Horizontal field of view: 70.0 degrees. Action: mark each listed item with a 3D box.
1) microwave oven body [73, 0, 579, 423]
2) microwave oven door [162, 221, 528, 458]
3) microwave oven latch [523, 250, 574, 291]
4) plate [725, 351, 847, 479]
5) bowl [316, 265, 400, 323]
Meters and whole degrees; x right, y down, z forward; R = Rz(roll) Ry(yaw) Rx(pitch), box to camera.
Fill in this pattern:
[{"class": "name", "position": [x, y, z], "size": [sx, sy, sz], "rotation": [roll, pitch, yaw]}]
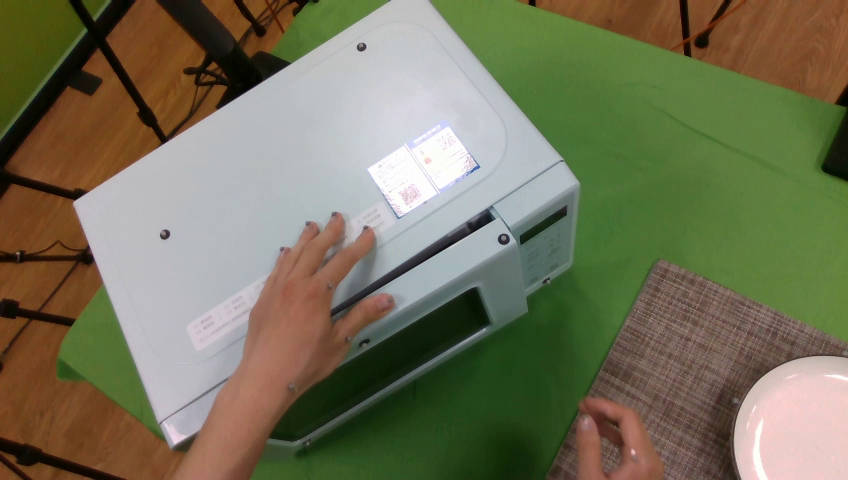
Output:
[{"class": "microwave oven body", "position": [-0.097, -0.017, 0.708], "size": [0.442, 0.262, 0.323], "rotation": [-34, 67, -1]}, {"class": "microwave oven door", "position": [-0.054, 0.121, 0.642], "size": [0.356, 0.246, 0.039], "rotation": [-31, 66, -1]}, {"class": "microwave oven latch", "position": [0.146, 0.031, 0.745], "size": [0.079, 0.030, 0.030], "rotation": [-32, 67, -1]}, {"class": "plate", "position": [0.424, 0.222, 0.631], "size": [0.207, 0.039, 0.206], "rotation": [-4, 69, 10]}, {"class": "bowl", "position": [-0.093, 0.037, 0.727], "size": [0.151, 0.077, 0.150], "rotation": [-5, 64, 10]}]
